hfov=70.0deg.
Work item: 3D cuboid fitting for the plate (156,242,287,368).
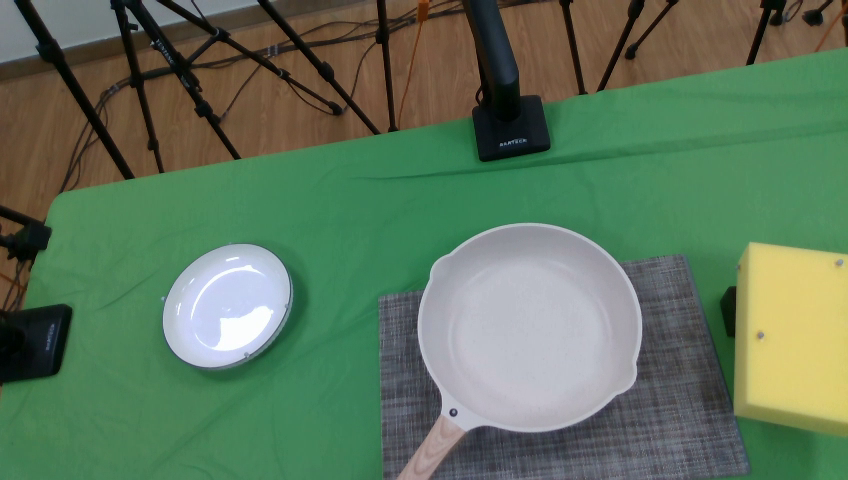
[{"bbox_3d":[-0.309,0.102,0.942,0.207,0.039,0.206,-4,61,8],"label":"plate"}]

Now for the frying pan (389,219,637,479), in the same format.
[{"bbox_3d":[0.069,0.181,0.781,0.304,0.104,0.487,31,63,26],"label":"frying pan"}]

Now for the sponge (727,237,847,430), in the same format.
[{"bbox_3d":[0.433,0.106,0.721,0.118,0.061,0.205,8,64,15],"label":"sponge"}]
